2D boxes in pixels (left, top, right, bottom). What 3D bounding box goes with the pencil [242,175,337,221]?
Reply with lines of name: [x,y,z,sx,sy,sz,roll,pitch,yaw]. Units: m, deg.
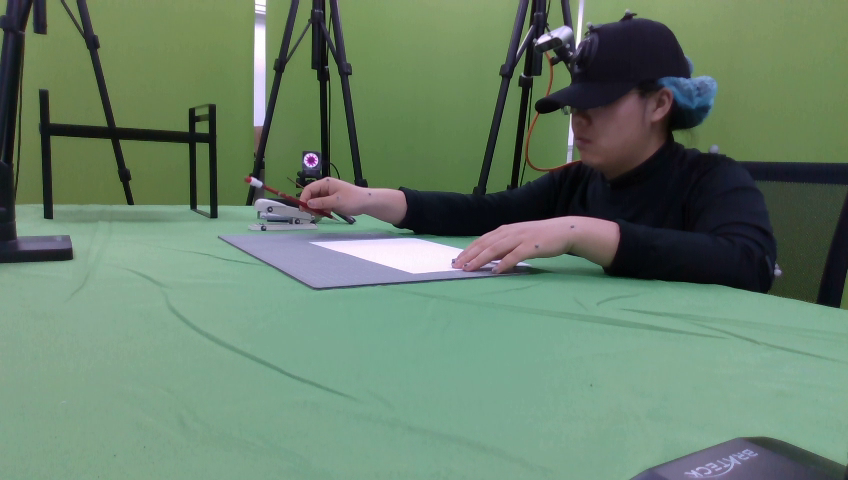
pencil: [-0.225,-0.068,1.039,0.195,0.012,0.012,26,-10,-40]

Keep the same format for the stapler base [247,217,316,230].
stapler base: [-0.276,-0.033,1.172,0.131,0.024,0.041,0,10,-37]

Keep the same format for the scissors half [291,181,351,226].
scissors half: [-0.232,-0.085,1.317,0.175,0.013,0.040,38,20,4]

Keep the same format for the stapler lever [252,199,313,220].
stapler lever: [-0.273,-0.058,1.170,0.119,0.040,0.026,0,10,-37]

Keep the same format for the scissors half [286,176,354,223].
scissors half: [-0.229,-0.091,1.337,0.175,0.013,0.040,33,15,-13]
